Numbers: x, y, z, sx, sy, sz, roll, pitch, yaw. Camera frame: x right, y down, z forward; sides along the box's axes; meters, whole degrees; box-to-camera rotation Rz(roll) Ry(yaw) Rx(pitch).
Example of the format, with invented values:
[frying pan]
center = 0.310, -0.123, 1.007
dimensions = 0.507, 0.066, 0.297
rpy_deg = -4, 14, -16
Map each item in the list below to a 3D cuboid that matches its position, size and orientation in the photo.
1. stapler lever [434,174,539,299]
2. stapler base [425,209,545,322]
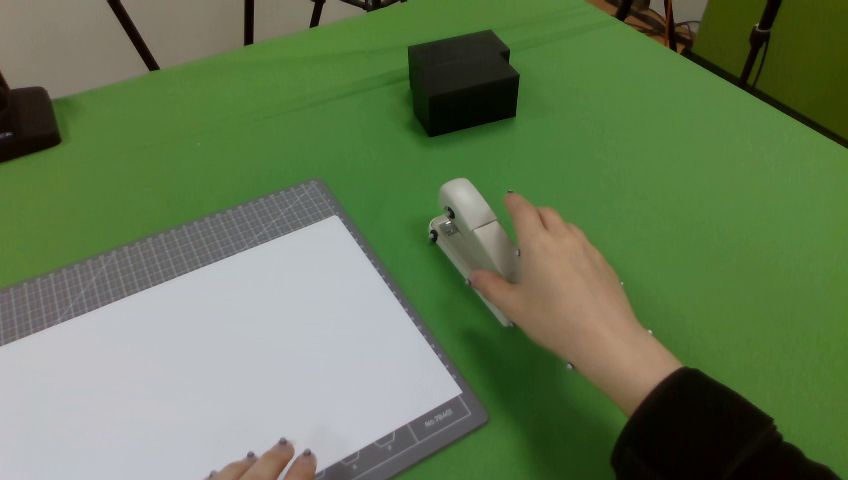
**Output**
[stapler lever]
center = 0.047, -0.007, 0.476
dimensions = 0.027, 0.040, 0.117
rpy_deg = -25, 52, -17
[stapler base]
center = 0.046, 0.010, 0.496
dimensions = 0.041, 0.024, 0.129
rpy_deg = -25, 52, -17
